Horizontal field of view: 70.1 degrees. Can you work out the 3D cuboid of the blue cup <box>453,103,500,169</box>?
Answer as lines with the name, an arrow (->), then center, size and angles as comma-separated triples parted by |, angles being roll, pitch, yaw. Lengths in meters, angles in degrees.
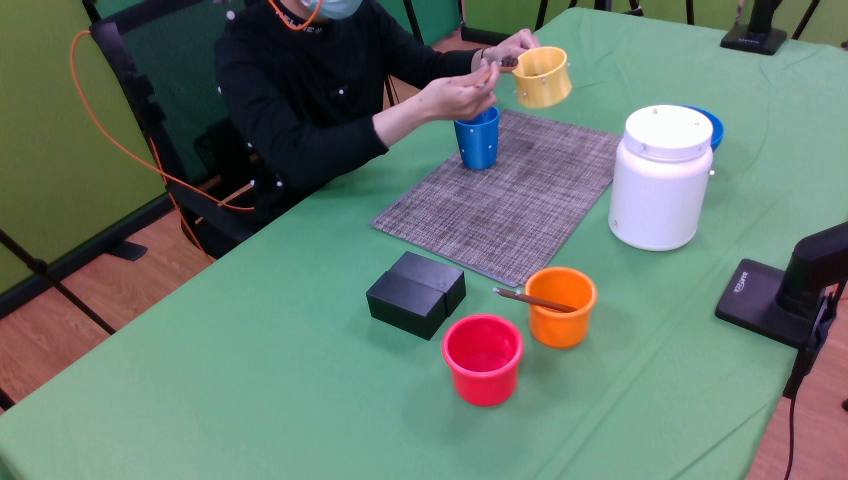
blue cup -> 0.099, -0.188, 1.115 | 0.092, 0.100, 0.092 | -4, 39, 4

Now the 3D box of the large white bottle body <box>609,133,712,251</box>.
large white bottle body -> 0.351, -0.090, 0.904 | 0.130, 0.185, 0.130 | -5, 41, 4

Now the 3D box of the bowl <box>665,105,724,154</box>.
bowl -> 0.438, -0.166, 1.063 | 0.151, 0.077, 0.150 | -4, 41, 4

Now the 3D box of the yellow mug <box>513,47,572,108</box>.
yellow mug -> 0.214, -0.308, 1.118 | 0.100, 0.064, 0.130 | -19, 41, 5

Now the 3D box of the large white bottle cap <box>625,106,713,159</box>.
large white bottle cap -> 0.342, -0.153, 0.848 | 0.115, 0.018, 0.114 | -4, 41, 4

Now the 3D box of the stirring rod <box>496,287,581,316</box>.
stirring rod -> 0.150, 0.080, 0.773 | 0.178, 0.006, 0.014 | 17, 21, -42

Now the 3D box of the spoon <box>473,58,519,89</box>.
spoon -> 0.116, -0.278, 1.002 | 0.041, 0.022, 0.194 | 13, 28, 21
